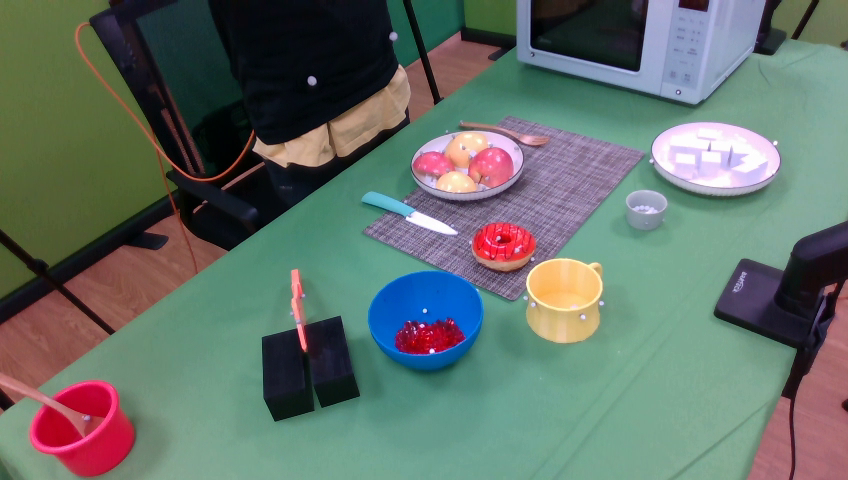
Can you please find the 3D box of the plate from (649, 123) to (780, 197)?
[{"bbox_3d":[0.497,-0.135,1.046,0.207,0.039,0.206,-4,40,4],"label":"plate"}]

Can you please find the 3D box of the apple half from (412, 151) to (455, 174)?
[{"bbox_3d":[0.022,-0.144,1.097,0.081,0.033,0.081,7,22,-2],"label":"apple half"}]

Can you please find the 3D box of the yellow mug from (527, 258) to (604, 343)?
[{"bbox_3d":[0.201,0.073,0.825,0.131,0.064,0.099,-32,46,-27],"label":"yellow mug"}]

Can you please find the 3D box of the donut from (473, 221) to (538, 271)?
[{"bbox_3d":[0.123,0.008,0.923,0.099,0.048,0.098,-3,38,3],"label":"donut"}]

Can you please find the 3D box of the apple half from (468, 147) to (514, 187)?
[{"bbox_3d":[0.119,-0.137,1.073,0.080,0.053,0.075,25,49,38],"label":"apple half"}]

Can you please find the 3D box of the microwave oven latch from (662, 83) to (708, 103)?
[{"bbox_3d":[0.517,-0.296,1.204,0.078,0.029,0.030,27,52,35],"label":"microwave oven latch"}]

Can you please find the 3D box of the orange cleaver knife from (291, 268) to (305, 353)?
[{"bbox_3d":[-0.175,0.093,0.844,0.012,0.077,0.210,-11,15,-10],"label":"orange cleaver knife"}]

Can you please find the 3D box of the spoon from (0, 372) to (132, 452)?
[{"bbox_3d":[-0.439,0.195,0.715,0.195,0.021,0.041,37,41,-16],"label":"spoon"}]

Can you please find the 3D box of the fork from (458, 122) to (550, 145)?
[{"bbox_3d":[0.154,-0.215,1.204,0.206,0.019,0.028,20,57,29],"label":"fork"}]

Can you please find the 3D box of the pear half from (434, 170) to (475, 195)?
[{"bbox_3d":[0.052,-0.105,1.051,0.071,0.031,0.087,-5,32,-28],"label":"pear half"}]

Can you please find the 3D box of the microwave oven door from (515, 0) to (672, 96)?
[{"bbox_3d":[0.343,-0.454,1.259,0.353,0.245,0.039,26,51,33],"label":"microwave oven door"}]

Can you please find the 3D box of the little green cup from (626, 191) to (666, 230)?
[{"bbox_3d":[0.352,-0.046,0.963,0.061,0.039,0.061,-4,40,4],"label":"little green cup"}]

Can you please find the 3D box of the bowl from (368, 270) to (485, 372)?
[{"bbox_3d":[0.007,0.118,0.791,0.151,0.077,0.150,-5,40,4],"label":"bowl"}]

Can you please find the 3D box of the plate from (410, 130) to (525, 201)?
[{"bbox_3d":[0.079,-0.133,1.101,0.209,0.038,0.208,-4,40,4],"label":"plate"}]

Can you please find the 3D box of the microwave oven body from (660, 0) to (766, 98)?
[{"bbox_3d":[0.472,-0.513,1.317,0.438,0.261,0.327,26,51,34],"label":"microwave oven body"}]

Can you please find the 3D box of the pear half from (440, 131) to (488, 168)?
[{"bbox_3d":[0.064,-0.173,1.129,0.110,0.056,0.076,-6,35,5],"label":"pear half"}]

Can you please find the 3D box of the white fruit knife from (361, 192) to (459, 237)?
[{"bbox_3d":[-0.025,-0.044,1.033,0.206,0.016,0.027,24,80,30],"label":"white fruit knife"}]
